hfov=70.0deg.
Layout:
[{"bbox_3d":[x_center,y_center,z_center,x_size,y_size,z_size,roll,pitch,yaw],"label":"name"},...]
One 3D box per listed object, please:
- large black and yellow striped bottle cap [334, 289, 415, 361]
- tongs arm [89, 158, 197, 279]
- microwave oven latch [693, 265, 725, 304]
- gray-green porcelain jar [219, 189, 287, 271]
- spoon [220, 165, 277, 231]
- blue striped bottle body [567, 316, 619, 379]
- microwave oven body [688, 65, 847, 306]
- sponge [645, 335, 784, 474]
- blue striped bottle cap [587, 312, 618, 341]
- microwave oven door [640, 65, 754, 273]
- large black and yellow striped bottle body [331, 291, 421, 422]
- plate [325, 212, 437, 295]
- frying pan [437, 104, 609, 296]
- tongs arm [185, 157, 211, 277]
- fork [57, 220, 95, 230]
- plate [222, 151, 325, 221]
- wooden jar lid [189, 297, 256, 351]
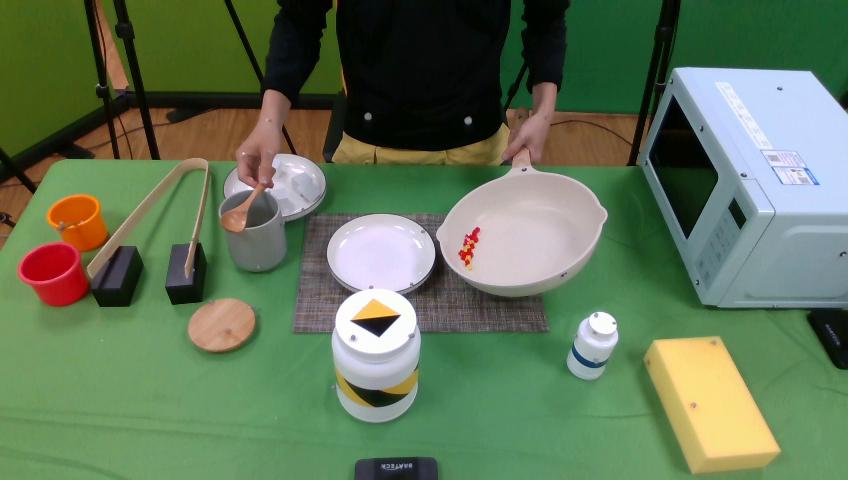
[{"bbox_3d":[-0.069,0.117,0.850,0.115,0.019,0.114,2,45,-2],"label":"large black and yellow striped bottle cap"},{"bbox_3d":[-0.530,-0.057,1.164,0.028,0.028,0.385,1,36,8],"label":"tongs arm"},{"bbox_3d":[0.523,0.081,1.116,0.030,0.029,0.078,2,46,-1],"label":"microwave oven latch"},{"bbox_3d":[-0.310,-0.014,1.113,0.106,0.127,0.105,2,46,-2],"label":"gray-green porcelain jar"},{"bbox_3d":[-0.303,-0.078,1.073,0.042,0.022,0.193,31,46,-8],"label":"spoon"},{"bbox_3d":[0.276,0.168,0.984,0.063,0.121,0.062,2,46,-2],"label":"blue striped bottle body"},{"bbox_3d":[0.669,-0.111,1.176,0.326,0.261,0.439,0,46,-3],"label":"microwave oven body"},{"bbox_3d":[0.449,0.253,0.956,0.118,0.061,0.205,-4,46,-7],"label":"sponge"},{"bbox_3d":[0.279,0.134,0.946,0.044,0.021,0.044,2,45,-2],"label":"blue striped bottle cap"},{"bbox_3d":[0.522,-0.147,1.193,0.039,0.245,0.353,0,47,-3],"label":"microwave oven door"},{"bbox_3d":[-0.072,0.175,0.911,0.131,0.185,0.130,2,47,-2],"label":"large black and yellow striped bottle body"},{"bbox_3d":[-0.081,0.030,1.143,0.209,0.038,0.208,2,46,-2],"label":"plate"},{"bbox_3d":[0.189,-0.093,1.153,0.306,0.103,0.485,-5,52,18],"label":"frying pan"},{"bbox_3d":[-0.446,-0.058,1.168,0.051,0.026,0.382,-5,37,-6],"label":"tongs arm"},{"bbox_3d":[-0.624,-0.027,1.086,0.028,0.207,0.018,-2,92,-17],"label":"fork"},{"bbox_3d":[-0.310,-0.106,1.263,0.208,0.039,0.206,2,46,-2],"label":"plate"},{"bbox_3d":[-0.342,0.145,1.033,0.108,0.021,0.107,3,45,-2],"label":"wooden jar lid"}]
